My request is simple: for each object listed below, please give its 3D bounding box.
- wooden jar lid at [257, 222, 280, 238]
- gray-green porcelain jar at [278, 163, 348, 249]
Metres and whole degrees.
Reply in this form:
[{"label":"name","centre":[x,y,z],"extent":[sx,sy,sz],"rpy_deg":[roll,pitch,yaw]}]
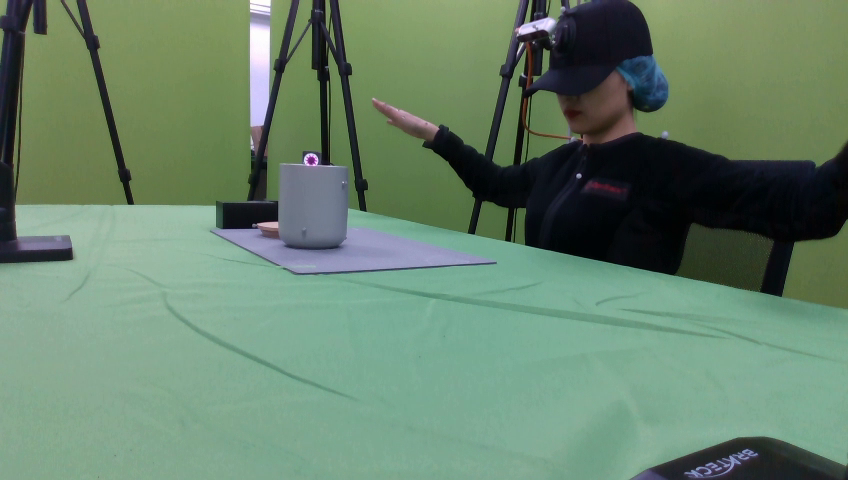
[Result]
[{"label":"wooden jar lid","centre":[-0.234,-0.018,1.053],"extent":[0.108,0.020,0.108],"rpy_deg":[2,9,0]},{"label":"gray-green porcelain jar","centre":[-0.171,-0.053,0.934],"extent":[0.106,0.126,0.106],"rpy_deg":[2,7,0]}]
